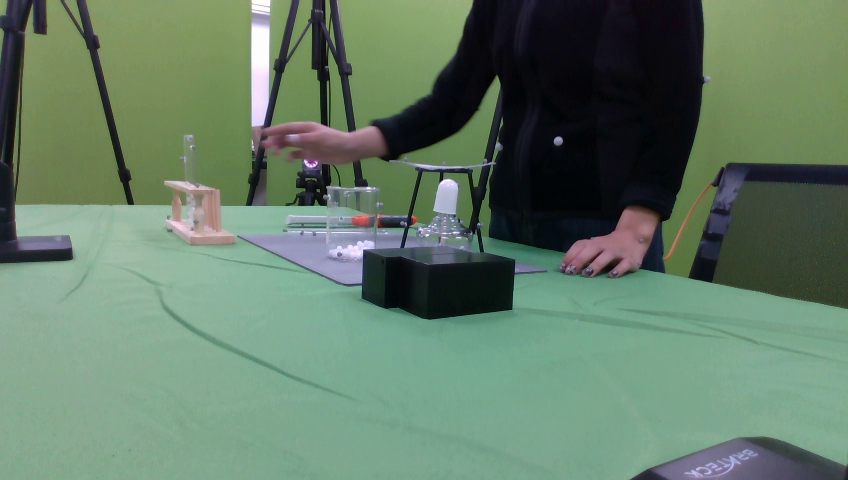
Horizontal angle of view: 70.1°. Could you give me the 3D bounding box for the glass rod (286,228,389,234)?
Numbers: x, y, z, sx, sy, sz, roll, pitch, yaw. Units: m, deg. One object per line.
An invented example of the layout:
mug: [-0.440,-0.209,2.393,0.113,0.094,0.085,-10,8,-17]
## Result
glass rod: [-0.154,-0.016,1.101,0.201,0.008,0.008,1,6,-31]

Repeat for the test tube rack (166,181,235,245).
test tube rack: [-0.383,-0.051,1.024,0.067,0.085,0.241,-2,9,-31]

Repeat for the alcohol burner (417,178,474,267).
alcohol burner: [0.029,-0.024,0.810,0.078,0.119,0.078,1,9,0]

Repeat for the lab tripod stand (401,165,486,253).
lab tripod stand: [0.027,-0.049,0.930,0.148,0.131,0.148,2,9,0]

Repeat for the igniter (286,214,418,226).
igniter: [-0.146,-0.043,1.263,0.278,0.025,0.057,-1,-2,-24]

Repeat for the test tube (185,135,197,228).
test tube: [-0.376,-0.094,0.977,0.017,0.150,0.017,-1,3,0]

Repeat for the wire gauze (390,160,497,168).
wire gauze: [0.027,-0.115,0.919,0.122,0.011,0.124,-4,10,-34]

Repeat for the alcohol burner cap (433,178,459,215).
alcohol burner cap: [0.031,-0.059,0.806,0.034,0.048,0.034,9,10,-1]

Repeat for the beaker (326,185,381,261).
beaker: [-0.100,-0.025,0.835,0.074,0.100,0.083,0,7,-23]
